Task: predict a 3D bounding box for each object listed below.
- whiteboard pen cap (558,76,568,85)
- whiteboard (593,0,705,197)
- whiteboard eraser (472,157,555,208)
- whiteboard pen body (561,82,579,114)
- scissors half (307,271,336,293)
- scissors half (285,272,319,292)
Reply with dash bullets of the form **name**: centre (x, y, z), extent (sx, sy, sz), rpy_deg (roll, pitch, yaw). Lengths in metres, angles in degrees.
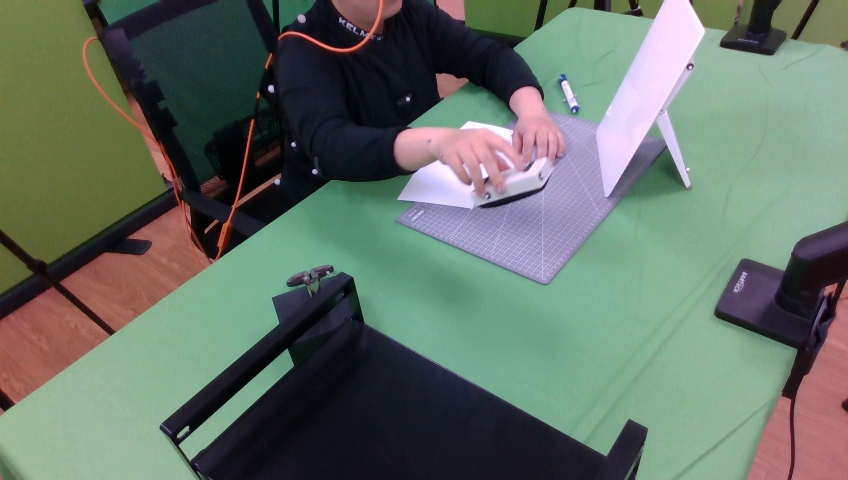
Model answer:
- **whiteboard pen cap**: centre (0.310, -0.350, 1.340), extent (0.018, 0.018, 0.033), rpy_deg (-6, 41, 2)
- **whiteboard**: centre (0.421, -0.227, 1.009), extent (0.144, 0.305, 0.216), rpy_deg (17, 41, -3)
- **whiteboard eraser**: centre (0.126, -0.077, 0.848), extent (0.112, 0.042, 0.056), rpy_deg (-16, 20, 39)
- **whiteboard pen body**: centre (0.310, -0.311, 1.298), extent (0.017, 0.017, 0.140), rpy_deg (-6, 41, 2)
- **scissors half**: centre (-0.152, 0.060, 0.872), extent (0.040, 0.013, 0.175), rpy_deg (-5, 6, -4)
- **scissors half**: centre (-0.172, 0.063, 0.868), extent (0.040, 0.013, 0.174), rpy_deg (-12, 7, -21)
